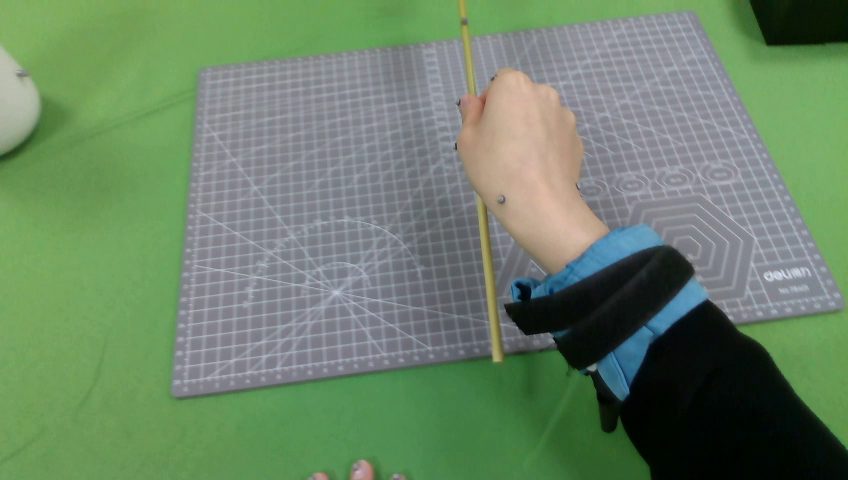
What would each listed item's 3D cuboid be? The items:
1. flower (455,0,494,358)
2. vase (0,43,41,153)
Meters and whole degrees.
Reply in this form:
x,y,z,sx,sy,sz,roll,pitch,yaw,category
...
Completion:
x,y,z,sx,sy,sz,roll,pitch,yaw,category
0.030,-0.099,0.416,0.038,0.044,0.359,5,69,-21,flower
-0.370,-0.148,0.432,0.098,0.202,0.097,-1,58,2,vase
